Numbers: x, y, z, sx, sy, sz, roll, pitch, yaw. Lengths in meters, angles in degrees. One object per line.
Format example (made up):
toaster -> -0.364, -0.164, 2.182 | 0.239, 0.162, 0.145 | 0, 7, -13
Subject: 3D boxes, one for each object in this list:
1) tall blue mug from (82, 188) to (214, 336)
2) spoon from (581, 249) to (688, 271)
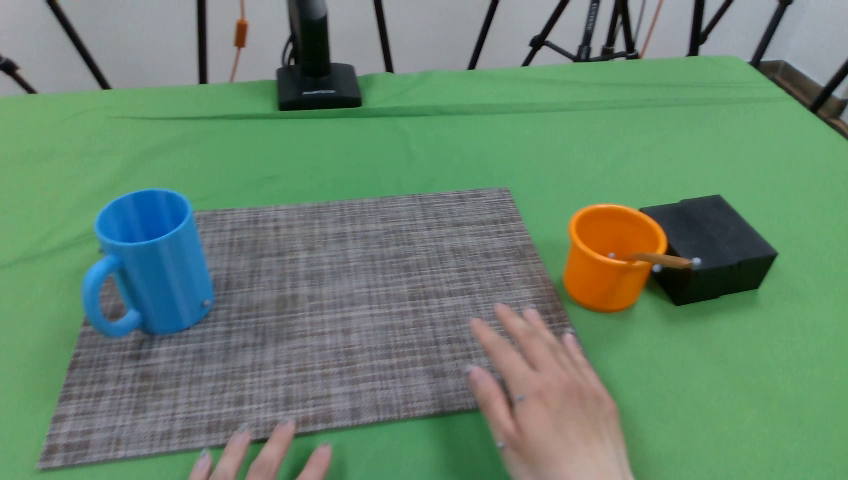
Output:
tall blue mug -> -0.238, 0.029, 0.531 | 0.078, 0.109, 0.106 | 1, 41, -4
spoon -> 0.186, 0.017, 0.549 | 0.041, 0.194, 0.021 | 4, 85, -3
